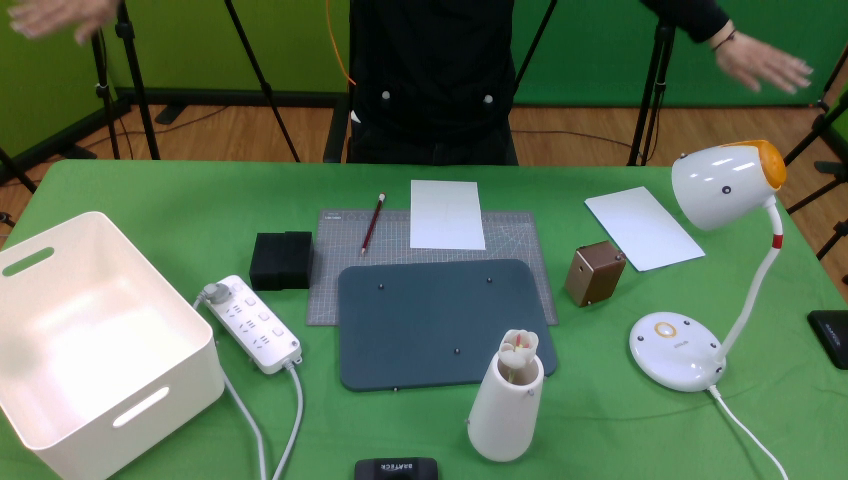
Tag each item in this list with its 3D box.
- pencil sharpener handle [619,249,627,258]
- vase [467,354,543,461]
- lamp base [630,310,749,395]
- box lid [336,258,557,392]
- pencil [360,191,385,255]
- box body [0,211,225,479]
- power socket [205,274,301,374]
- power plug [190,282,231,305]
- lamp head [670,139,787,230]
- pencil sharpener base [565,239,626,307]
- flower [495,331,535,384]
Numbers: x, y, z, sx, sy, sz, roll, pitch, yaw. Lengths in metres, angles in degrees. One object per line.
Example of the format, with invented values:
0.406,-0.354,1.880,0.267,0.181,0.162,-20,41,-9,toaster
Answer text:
0.359,0.036,1.112,0.031,0.068,0.036,-15,61,-18,pencil sharpener handle
0.116,0.234,0.861,0.098,0.201,0.097,1,47,-1,vase
0.447,0.143,0.984,0.161,0.181,0.178,-24,55,-24,lamp base
0.030,0.140,1.073,0.372,0.015,0.261,-3,47,-7,box lid
-0.105,-0.037,1.229,0.012,0.012,0.193,10,45,5,pencil
-0.504,0.154,0.916,0.362,0.161,0.254,36,54,27,box body
-0.296,0.140,1.035,0.072,0.033,0.225,-32,57,-29,power socket
-0.368,0.097,1.039,0.072,0.053,0.035,-26,55,-20,power plug
0.415,-0.079,0.812,0.113,0.123,0.112,12,70,-37,lamp head
0.313,0.060,1.104,0.077,0.107,0.061,-15,49,-18,pencil sharpener base
0.111,0.187,0.791,0.044,0.363,0.038,-32,65,-10,flower
